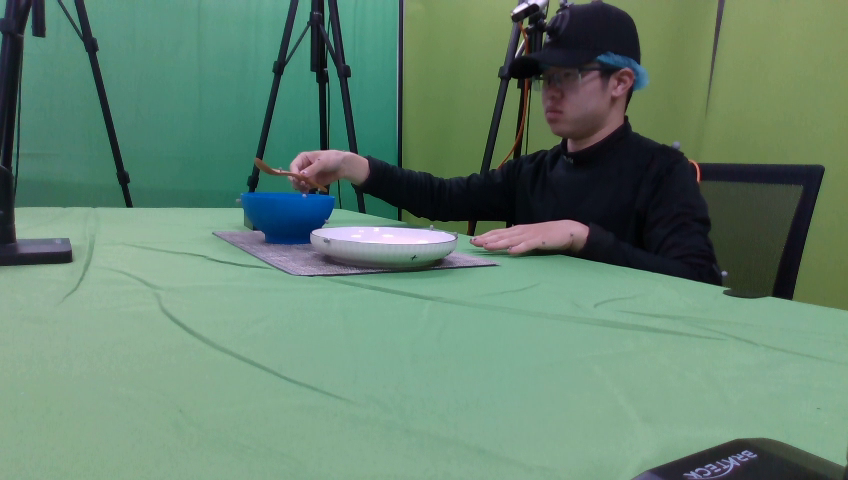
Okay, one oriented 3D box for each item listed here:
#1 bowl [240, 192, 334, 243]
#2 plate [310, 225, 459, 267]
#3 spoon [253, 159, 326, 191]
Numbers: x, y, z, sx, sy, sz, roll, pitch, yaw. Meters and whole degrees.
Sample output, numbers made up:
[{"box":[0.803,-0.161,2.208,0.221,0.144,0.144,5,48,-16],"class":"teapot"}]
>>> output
[{"box":[-0.223,-0.037,0.992,0.151,0.077,0.151,2,7,0],"class":"bowl"},{"box":[-0.055,0.008,0.851,0.208,0.039,0.207,2,7,0],"class":"plate"},{"box":[-0.252,-0.124,1.170,0.041,0.021,0.195,5,-5,33],"class":"spoon"}]
